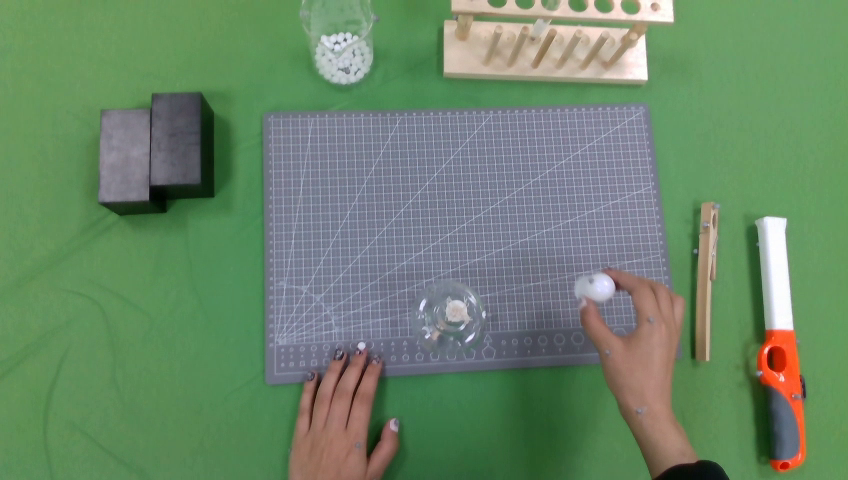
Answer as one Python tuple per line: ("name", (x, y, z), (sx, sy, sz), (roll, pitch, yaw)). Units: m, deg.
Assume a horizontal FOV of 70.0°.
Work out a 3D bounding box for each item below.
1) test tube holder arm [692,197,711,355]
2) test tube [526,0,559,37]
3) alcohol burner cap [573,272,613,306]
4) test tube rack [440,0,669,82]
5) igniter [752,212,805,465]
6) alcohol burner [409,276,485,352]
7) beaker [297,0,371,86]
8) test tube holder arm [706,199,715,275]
("test tube holder arm", (0.313, 0.039, 0.683), (0.013, 0.015, 0.177), (15, 78, -36))
("test tube", (0.135, -0.256, 0.640), (0.017, 0.150, 0.017), (1, 80, -7))
("alcohol burner cap", (0.169, 0.047, 0.599), (0.034, 0.048, 0.033), (0, 79, 0))
("test tube rack", (0.142, -0.233, 0.687), (0.243, 0.085, 0.066), (1, 79, -4))
("igniter", (0.392, 0.105, 0.673), (0.057, 0.025, 0.275), (4, 79, -13))
("alcohol burner", (0.025, 0.072, 0.603), (0.078, 0.119, 0.077), (1, 78, -6))
("beaker", (-0.094, -0.217, 0.658), (0.074, 0.100, 0.083), (0, 79, -4))
("test tube holder arm", (0.323, -0.003, 0.694), (0.010, 0.015, 0.087), (17, 77, -36))
